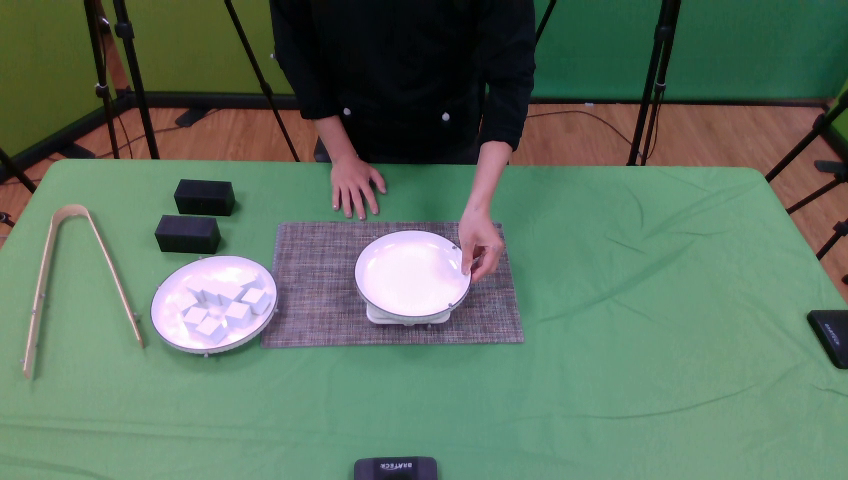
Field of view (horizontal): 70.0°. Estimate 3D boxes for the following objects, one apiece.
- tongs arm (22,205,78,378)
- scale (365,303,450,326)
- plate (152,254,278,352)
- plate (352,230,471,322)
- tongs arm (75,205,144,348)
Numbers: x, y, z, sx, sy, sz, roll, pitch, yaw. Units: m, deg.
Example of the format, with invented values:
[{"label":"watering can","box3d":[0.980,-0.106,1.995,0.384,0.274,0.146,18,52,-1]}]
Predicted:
[{"label":"tongs arm","box3d":[-0.652,0.074,1.067,0.051,0.026,0.382,-11,46,-15]},{"label":"scale","box3d":[-0.032,0.071,1.113,0.149,0.032,0.199,0,46,-4]},{"label":"plate","box3d":[-0.357,0.111,1.052,0.208,0.039,0.206,2,46,-2]},{"label":"plate","box3d":[-0.021,0.066,1.065,0.209,0.038,0.208,2,45,-2]},{"label":"tongs arm","box3d":[-0.570,0.054,1.098,0.028,0.028,0.385,-26,53,-22]}]
